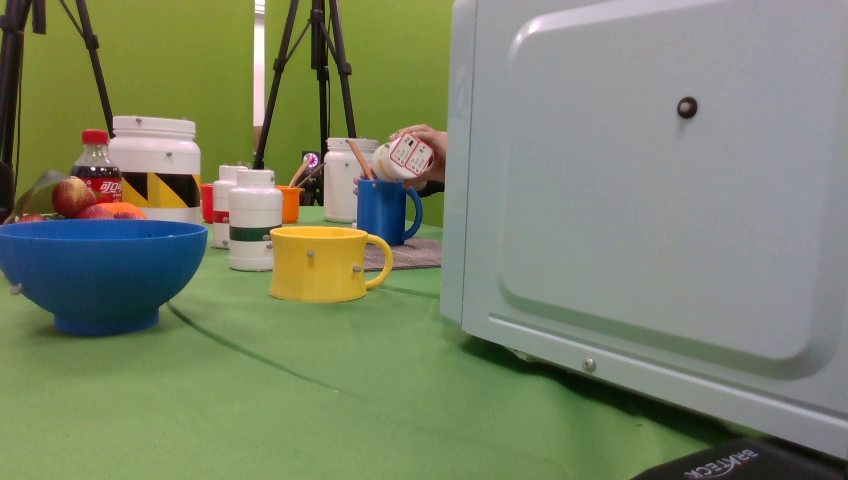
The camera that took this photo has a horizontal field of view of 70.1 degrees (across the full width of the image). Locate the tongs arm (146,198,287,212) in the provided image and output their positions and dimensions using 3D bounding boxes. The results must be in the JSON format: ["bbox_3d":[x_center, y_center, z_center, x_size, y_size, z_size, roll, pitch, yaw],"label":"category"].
[{"bbox_3d":[-0.505,-0.089,1.513,0.028,0.028,0.389,-2,3,37],"label":"tongs arm"}]

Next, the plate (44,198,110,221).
[{"bbox_3d":[-0.617,-0.056,1.179,0.209,0.038,0.209,3,7,0],"label":"plate"}]

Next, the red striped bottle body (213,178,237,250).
[{"bbox_3d":[-0.284,-0.048,0.909,0.063,0.119,0.063,3,10,0],"label":"red striped bottle body"}]

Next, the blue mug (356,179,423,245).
[{"bbox_3d":[-0.057,-0.047,1.007,0.116,0.106,0.082,4,8,20],"label":"blue mug"}]

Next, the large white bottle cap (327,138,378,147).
[{"bbox_3d":[-0.160,-0.218,1.357,0.115,0.018,0.115,2,8,0],"label":"large white bottle cap"}]

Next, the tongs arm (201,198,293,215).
[{"bbox_3d":[-0.424,-0.084,1.473,0.050,0.026,0.386,1,6,21],"label":"tongs arm"}]

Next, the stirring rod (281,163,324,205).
[{"bbox_3d":[-0.278,-0.105,1.293,0.176,0.006,0.014,-47,24,-18],"label":"stirring rod"}]

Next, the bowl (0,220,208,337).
[{"bbox_3d":[-0.251,0.029,0.479,0.151,0.077,0.151,2,7,0],"label":"bowl"}]

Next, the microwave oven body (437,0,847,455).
[{"bbox_3d":[0.279,-0.040,0.465,0.444,0.260,0.324,-3,9,-41],"label":"microwave oven body"}]

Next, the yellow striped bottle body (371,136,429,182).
[{"bbox_3d":[-0.043,-0.122,0.930,0.063,0.062,0.120,0,3,-22],"label":"yellow striped bottle body"}]

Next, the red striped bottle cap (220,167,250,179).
[{"bbox_3d":[-0.281,-0.100,0.901,0.044,0.017,0.044,-1,5,0],"label":"red striped bottle cap"}]

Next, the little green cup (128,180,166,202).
[{"bbox_3d":[-0.485,-0.087,1.062,0.061,0.038,0.061,-1,6,0],"label":"little green cup"}]

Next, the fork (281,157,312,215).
[{"bbox_3d":[-0.289,-0.116,1.321,0.028,0.019,0.207,6,51,19],"label":"fork"}]

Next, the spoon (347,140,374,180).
[{"bbox_3d":[-0.089,-0.094,1.028,0.042,0.193,0.021,-4,-26,-46],"label":"spoon"}]

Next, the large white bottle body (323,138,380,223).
[{"bbox_3d":[-0.163,-0.135,1.368,0.131,0.184,0.130,2,7,0],"label":"large white bottle body"}]

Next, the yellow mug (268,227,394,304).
[{"bbox_3d":[-0.094,0.023,0.630,0.131,0.064,0.099,0,8,-22],"label":"yellow mug"}]

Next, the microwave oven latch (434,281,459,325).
[{"bbox_3d":[0.044,0.045,0.470,0.079,0.029,0.030,-2,8,-39],"label":"microwave oven latch"}]

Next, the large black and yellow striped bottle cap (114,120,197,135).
[{"bbox_3d":[-0.407,-0.171,0.920,0.115,0.019,0.115,2,9,0],"label":"large black and yellow striped bottle cap"}]

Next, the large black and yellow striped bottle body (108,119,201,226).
[{"bbox_3d":[-0.412,-0.088,0.930,0.131,0.184,0.130,3,7,0],"label":"large black and yellow striped bottle body"}]

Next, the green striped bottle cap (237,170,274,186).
[{"bbox_3d":[-0.205,-0.075,0.737,0.044,0.020,0.044,1,6,0],"label":"green striped bottle cap"}]

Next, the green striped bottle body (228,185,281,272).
[{"bbox_3d":[-0.208,-0.023,0.745,0.063,0.119,0.063,2,7,0],"label":"green striped bottle body"}]

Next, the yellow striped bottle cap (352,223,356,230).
[{"bbox_3d":[-0.115,-0.022,1.144,0.044,0.018,0.044,3,8,0],"label":"yellow striped bottle cap"}]

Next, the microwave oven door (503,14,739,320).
[{"bbox_3d":[0.217,-0.065,0.601,0.358,0.243,0.039,-4,10,-41],"label":"microwave oven door"}]
